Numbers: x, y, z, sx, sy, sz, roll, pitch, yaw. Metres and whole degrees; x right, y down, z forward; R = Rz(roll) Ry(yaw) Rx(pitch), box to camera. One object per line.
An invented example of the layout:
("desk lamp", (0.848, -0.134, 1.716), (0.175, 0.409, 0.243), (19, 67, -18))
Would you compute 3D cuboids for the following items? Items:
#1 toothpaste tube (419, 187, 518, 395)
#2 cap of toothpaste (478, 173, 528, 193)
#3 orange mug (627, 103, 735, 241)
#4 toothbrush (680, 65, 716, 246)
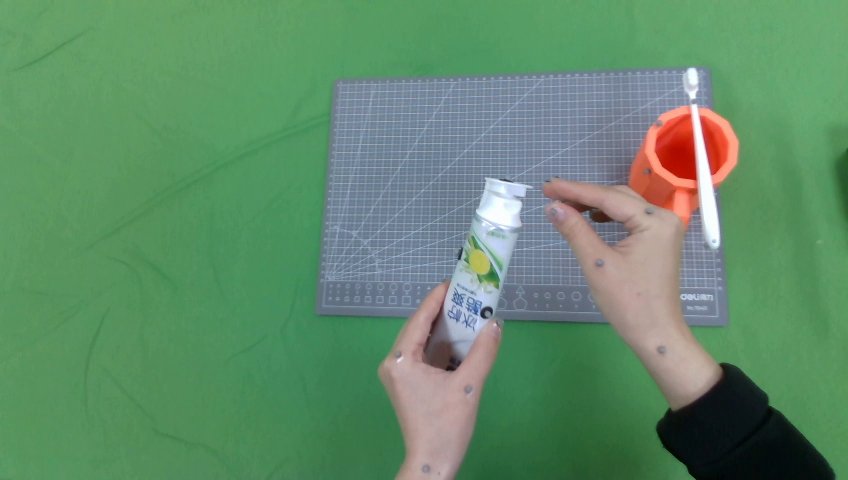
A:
("toothpaste tube", (0.035, 0.035, 0.456), (0.054, 0.035, 0.165), (27, 111, 34))
("cap of toothpaste", (0.056, -0.040, 0.430), (0.037, 0.037, 0.011), (9, 97, 11))
("orange mug", (0.260, -0.065, 0.627), (0.083, 0.101, 0.125), (9, 74, 11))
("toothbrush", (0.262, -0.084, 0.577), (0.014, 0.017, 0.181), (-2, 77, 5))
